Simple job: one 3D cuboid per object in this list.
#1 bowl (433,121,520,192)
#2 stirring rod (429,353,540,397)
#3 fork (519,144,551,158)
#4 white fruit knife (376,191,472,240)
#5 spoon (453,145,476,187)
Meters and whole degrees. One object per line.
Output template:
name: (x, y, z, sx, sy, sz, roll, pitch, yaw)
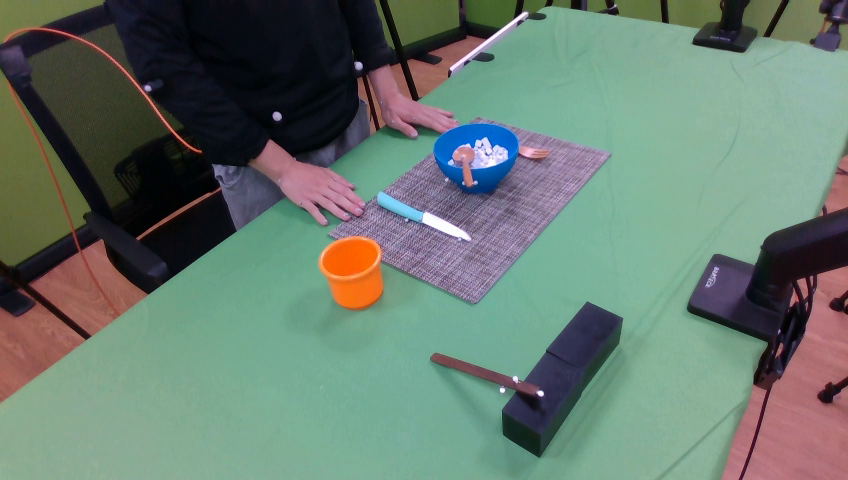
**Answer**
bowl: (0.093, -0.137, 1.064, 0.151, 0.077, 0.150, -4, 41, 4)
stirring rod: (0.069, 0.162, 0.737, 0.174, 0.006, 0.014, 8, 42, 47)
fork: (0.146, -0.188, 1.162, 0.206, 0.019, 0.028, 22, 59, 27)
white fruit knife: (-0.004, -0.039, 1.012, 0.206, 0.016, 0.027, 25, 61, 30)
spoon: (0.069, -0.124, 1.000, 0.041, 0.022, 0.193, -9, 21, 6)
